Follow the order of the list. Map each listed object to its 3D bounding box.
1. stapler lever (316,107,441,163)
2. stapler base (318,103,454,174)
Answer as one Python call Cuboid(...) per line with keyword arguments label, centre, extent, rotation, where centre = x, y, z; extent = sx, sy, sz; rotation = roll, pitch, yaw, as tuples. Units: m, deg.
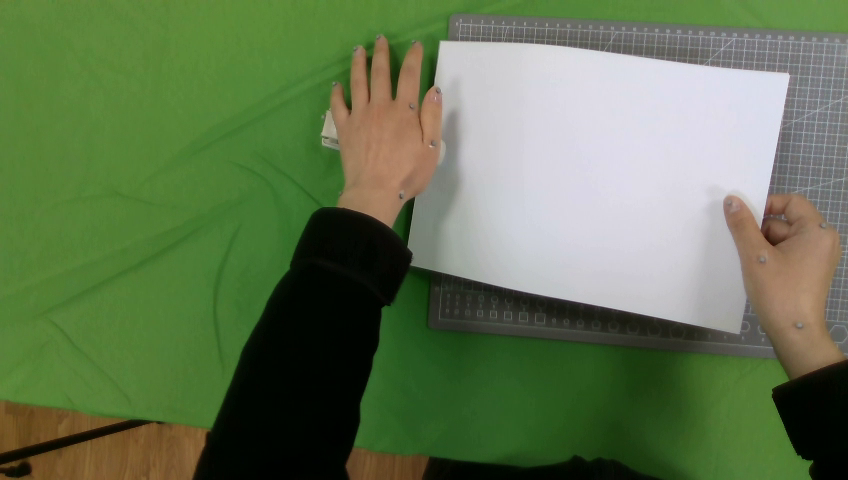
Cuboid(label="stapler lever", centre=(-0.042, -0.096, 0.548), extent=(0.118, 0.040, 0.027), rotation=(15, 92, 6))
Cuboid(label="stapler base", centre=(-0.038, -0.097, 0.573), extent=(0.130, 0.024, 0.041), rotation=(15, 92, 5))
